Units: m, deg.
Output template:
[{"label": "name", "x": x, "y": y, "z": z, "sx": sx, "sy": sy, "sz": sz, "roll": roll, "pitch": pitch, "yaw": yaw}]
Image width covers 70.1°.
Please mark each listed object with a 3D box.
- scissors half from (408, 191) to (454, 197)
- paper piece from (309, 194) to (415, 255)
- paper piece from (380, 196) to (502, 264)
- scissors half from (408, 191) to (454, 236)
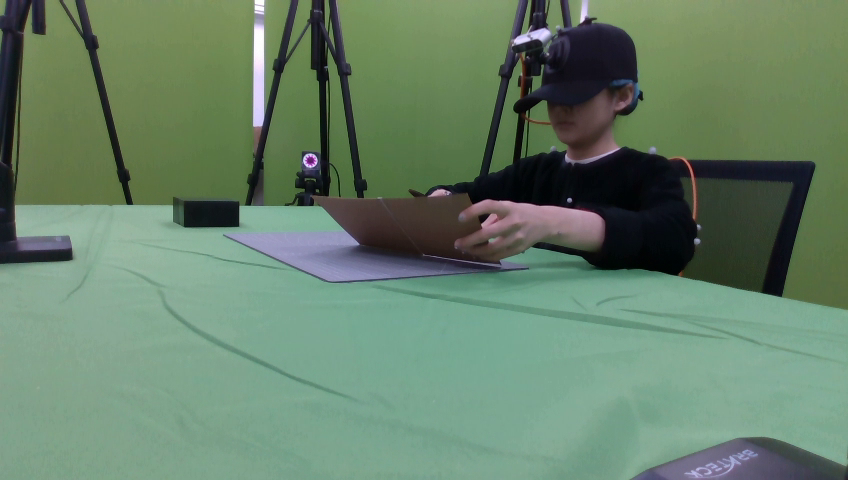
[{"label": "scissors half", "x": 0.018, "y": -0.063, "z": 0.997, "sx": 0.012, "sy": 0.040, "sz": 0.176, "roll": 19, "pitch": 5, "yaw": 29}, {"label": "paper piece", "x": -0.085, "y": -0.023, "z": 0.893, "sx": 0.137, "sy": 0.008, "sz": 0.136, "roll": 6, "pitch": -34, "yaw": 37}, {"label": "paper piece", "x": 0.023, "y": -0.013, "z": 0.816, "sx": 0.135, "sy": 0.136, "sz": 0.004, "roll": 1, "pitch": 49, "yaw": 33}, {"label": "scissors half", "x": 0.012, "y": -0.044, "z": 0.996, "sx": 0.013, "sy": 0.040, "sz": 0.176, "roll": 13, "pitch": -15, "yaw": 29}]
